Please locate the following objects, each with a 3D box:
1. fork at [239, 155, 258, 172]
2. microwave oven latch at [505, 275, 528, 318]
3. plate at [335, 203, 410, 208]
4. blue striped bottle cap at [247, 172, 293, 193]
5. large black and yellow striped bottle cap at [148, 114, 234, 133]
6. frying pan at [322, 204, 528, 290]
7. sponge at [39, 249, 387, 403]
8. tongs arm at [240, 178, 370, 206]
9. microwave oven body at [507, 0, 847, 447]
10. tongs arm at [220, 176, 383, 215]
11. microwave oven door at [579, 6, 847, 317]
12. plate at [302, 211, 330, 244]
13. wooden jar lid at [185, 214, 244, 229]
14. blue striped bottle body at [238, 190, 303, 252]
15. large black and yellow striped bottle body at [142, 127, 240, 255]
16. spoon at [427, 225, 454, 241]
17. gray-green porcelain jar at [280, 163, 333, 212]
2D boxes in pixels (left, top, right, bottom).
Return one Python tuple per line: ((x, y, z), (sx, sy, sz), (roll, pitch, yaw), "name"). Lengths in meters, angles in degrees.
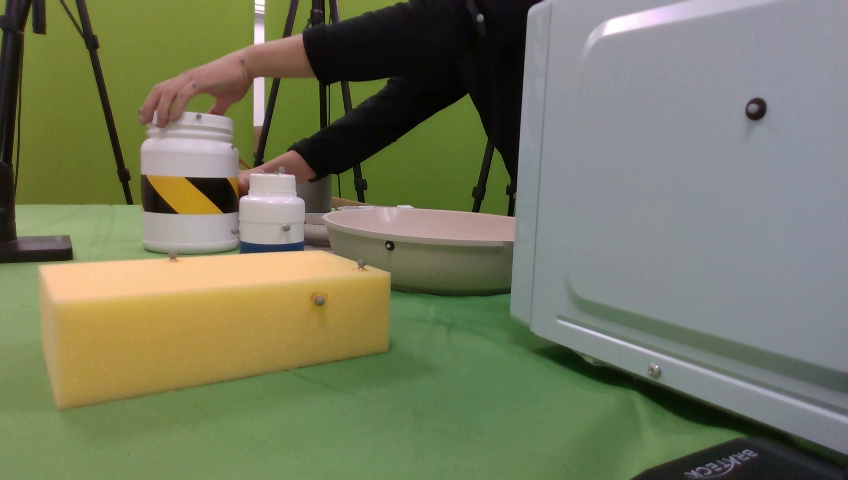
((-0.396, -0.143, 1.486), (0.028, 0.018, 0.208), (20, -26, 45), "fork")
((0.100, 0.041, 0.472), (0.079, 0.029, 0.030), (-2, 8, -30), "microwave oven latch")
((-0.089, -0.053, 1.309), (0.208, 0.039, 0.207), (2, 8, 0), "plate")
((-0.152, -0.057, 0.598), (0.044, 0.020, 0.044), (3, 7, 0), "blue striped bottle cap")
((-0.331, -0.165, 0.862), (0.115, 0.019, 0.115), (2, 6, 0), "large black and yellow striped bottle cap")
((0.109, -0.018, 0.800), (0.490, 0.102, 0.305), (-12, 16, -30), "frying pan")
((-0.142, 0.047, 0.420), (0.208, 0.061, 0.117), (-3, 8, -36), "sponge")
((-0.242, -0.095, 1.374), (0.387, 0.026, 0.050), (9, 0, -37), "tongs arm")
((0.331, -0.042, 0.425), (0.444, 0.260, 0.324), (-2, 8, -31), "microwave oven body")
((-0.285, -0.104, 1.445), (0.389, 0.027, 0.028), (9, -4, -23), "tongs arm")
((0.294, -0.067, 0.570), (0.358, 0.243, 0.039), (-3, 9, -31), "microwave oven door")
((-0.139, -0.022, 1.021), (0.209, 0.038, 0.209), (2, 8, 0), "plate")
((-0.404, -0.037, 1.169), (0.108, 0.020, 0.108), (3, 7, 0), "wooden jar lid")
((-0.153, -0.007, 0.605), (0.063, 0.120, 0.063), (2, 8, 0), "blue striped bottle body")
((-0.334, -0.078, 0.872), (0.131, 0.184, 0.130), (2, 7, 0), "large black and yellow striped bottle body")
((0.024, -0.019, 1.124), (0.042, 0.021, 0.193), (-18, 10, -4), "spoon")
((-0.238, -0.092, 1.221), (0.106, 0.126, 0.106), (2, 8, 0), "gray-green porcelain jar")
